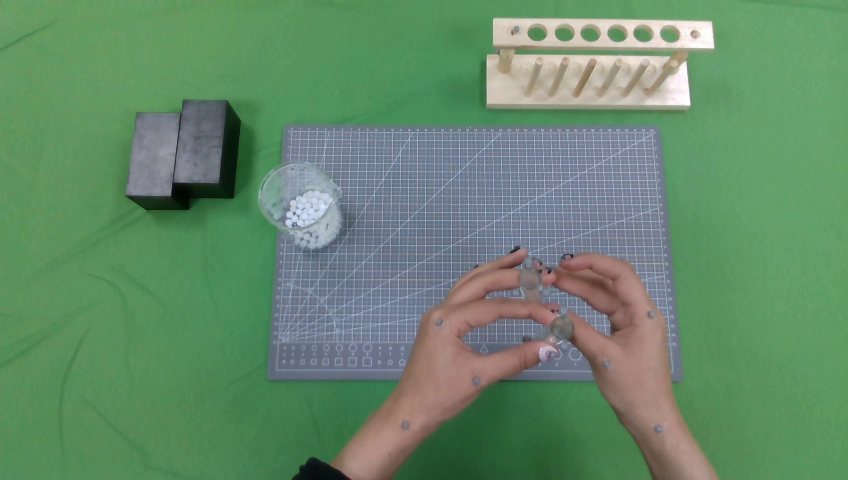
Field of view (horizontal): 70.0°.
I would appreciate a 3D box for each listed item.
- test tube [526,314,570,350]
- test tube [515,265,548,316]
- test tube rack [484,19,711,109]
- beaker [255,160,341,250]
[{"bbox_3d":[0.093,0.073,0.467,0.017,0.151,0.017,-1,77,4],"label":"test tube"},{"bbox_3d":[0.083,0.042,0.461,0.017,0.151,0.017,-3,75,13],"label":"test tube"},{"bbox_3d":[0.195,-0.202,0.704,0.242,0.085,0.066,1,76,0],"label":"test tube rack"},{"bbox_3d":[-0.127,-0.033,0.651,0.084,0.100,0.073,-7,76,-2],"label":"beaker"}]
